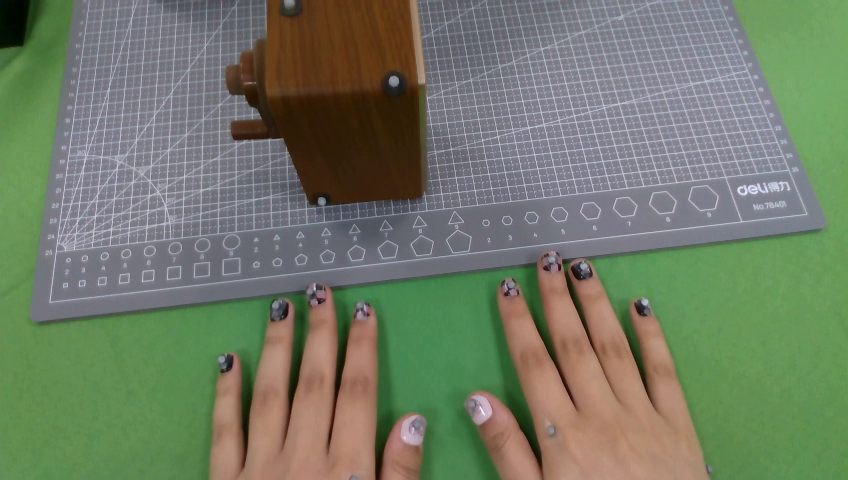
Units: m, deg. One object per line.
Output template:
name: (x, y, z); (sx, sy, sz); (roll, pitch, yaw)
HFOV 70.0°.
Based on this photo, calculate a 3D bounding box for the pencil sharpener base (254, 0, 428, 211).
pencil sharpener base: (-0.039, -0.066, 0.319); (0.077, 0.108, 0.061); (-5, 66, -2)

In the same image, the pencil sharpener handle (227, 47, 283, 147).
pencil sharpener handle: (-0.090, -0.067, 0.306); (0.030, 0.068, 0.035); (-5, 68, -1)
